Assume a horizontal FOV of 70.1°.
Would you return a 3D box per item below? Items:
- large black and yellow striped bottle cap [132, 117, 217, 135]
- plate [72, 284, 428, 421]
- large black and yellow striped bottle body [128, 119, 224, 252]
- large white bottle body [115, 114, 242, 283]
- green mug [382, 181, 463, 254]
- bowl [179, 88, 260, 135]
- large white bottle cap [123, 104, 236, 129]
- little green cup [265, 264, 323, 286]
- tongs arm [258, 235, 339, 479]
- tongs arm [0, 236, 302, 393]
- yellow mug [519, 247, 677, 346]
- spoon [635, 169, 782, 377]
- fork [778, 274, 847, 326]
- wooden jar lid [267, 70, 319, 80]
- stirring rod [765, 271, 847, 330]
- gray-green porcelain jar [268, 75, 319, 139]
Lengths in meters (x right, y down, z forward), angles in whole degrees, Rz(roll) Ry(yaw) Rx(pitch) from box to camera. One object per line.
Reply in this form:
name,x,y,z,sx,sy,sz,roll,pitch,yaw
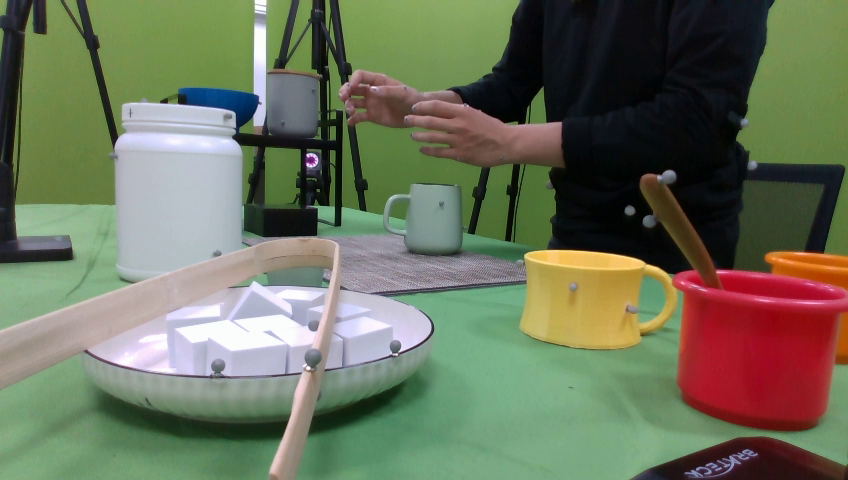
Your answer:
large black and yellow striped bottle cap,-0.359,-0.164,0.875,0.115,0.019,0.115,2,6,0
plate,-0.102,0.067,0.381,0.208,0.039,0.207,3,7,0
large black and yellow striped bottle body,-0.361,-0.081,0.887,0.131,0.184,0.130,2,8,0
large white bottle body,-0.270,-0.051,0.673,0.131,0.184,0.130,2,8,0
green mug,-0.001,-0.036,0.922,0.126,0.105,0.092,0,8,-16
bowl,-0.400,-0.248,1.188,0.151,0.077,0.151,2,6,0
large white bottle cap,-0.266,-0.134,0.663,0.115,0.018,0.115,3,7,0
little green cup,-0.134,0.033,0.628,0.061,0.038,0.061,3,7,0
tongs arm,-0.074,0.040,0.345,0.051,0.026,0.384,-1,10,-3
tongs arm,-0.157,0.038,0.347,0.028,0.028,0.388,-3,8,11
yellow mug,0.148,0.045,0.513,0.131,0.064,0.100,3,6,0
spoon,0.161,0.026,0.346,0.021,0.194,0.041,-51,32,-19
fork,0.332,0.019,0.443,0.028,0.018,0.207,-3,-35,-16
wooden jar lid,-0.275,-0.339,1.271,0.108,0.020,0.108,5,6,0
stirring rod,0.352,0.020,0.481,0.176,0.006,0.014,-40,-8,17
gray-green porcelain jar,-0.277,-0.279,1.280,0.106,0.126,0.106,2,8,0
